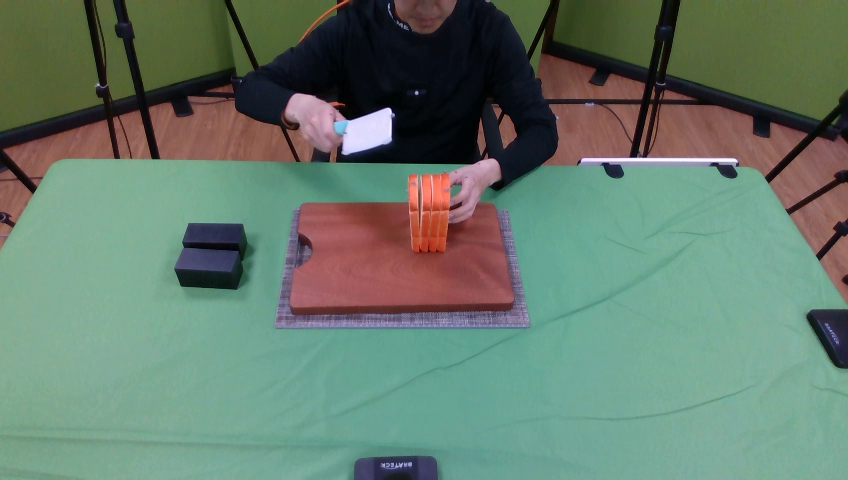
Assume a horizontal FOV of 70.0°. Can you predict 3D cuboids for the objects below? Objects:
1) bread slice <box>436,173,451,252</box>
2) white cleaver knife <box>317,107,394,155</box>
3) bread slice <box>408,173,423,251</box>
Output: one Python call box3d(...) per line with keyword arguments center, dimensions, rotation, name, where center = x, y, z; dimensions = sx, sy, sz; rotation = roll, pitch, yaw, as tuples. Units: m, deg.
box3d(center=(0.036, -0.058, 1.137), dimensions=(0.018, 0.135, 0.106), rotation=(2, 48, -3), name="bread slice")
box3d(center=(-0.127, -0.183, 1.060), dimensions=(0.021, 0.066, 0.285), rotation=(4, 0, -32), name="white cleaver knife")
box3d(center=(-0.016, -0.060, 1.137), dimensions=(0.019, 0.132, 0.104), rotation=(-5, 45, 1), name="bread slice")
